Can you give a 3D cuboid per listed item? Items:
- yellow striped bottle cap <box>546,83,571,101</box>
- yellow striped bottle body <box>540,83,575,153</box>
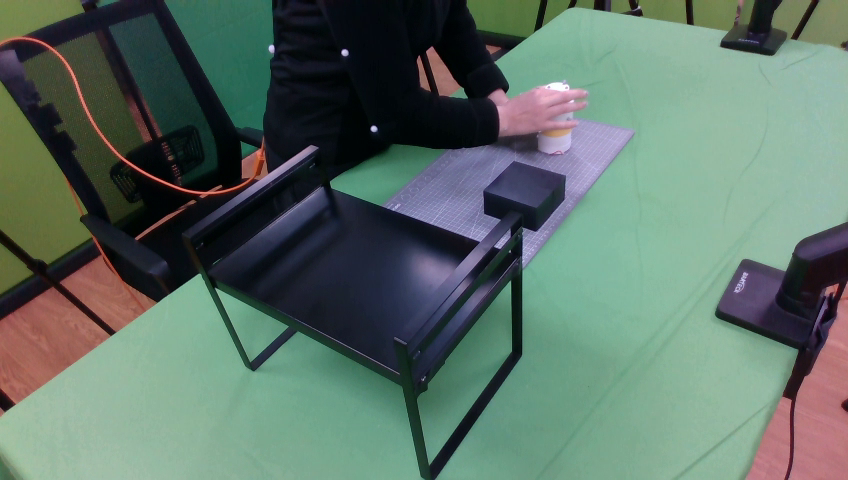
[{"bbox_3d":[0.242,-0.267,1.090,0.044,0.019,0.044,-4,37,3],"label":"yellow striped bottle cap"},{"bbox_3d":[0.247,-0.229,1.124,0.063,0.121,0.062,-5,41,5],"label":"yellow striped bottle body"}]
